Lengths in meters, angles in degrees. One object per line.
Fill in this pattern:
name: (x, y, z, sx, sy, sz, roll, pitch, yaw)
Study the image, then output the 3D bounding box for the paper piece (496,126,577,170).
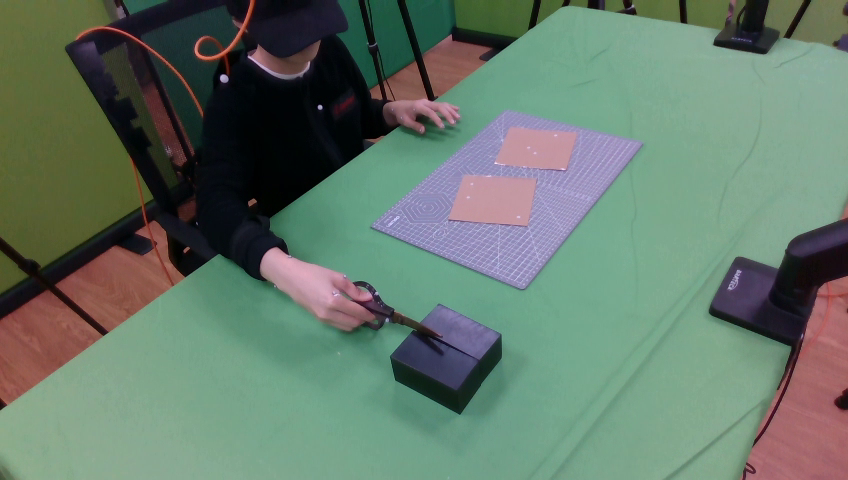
paper piece: (0.218, -0.178, 1.159, 0.135, 0.004, 0.135, 9, 43, 18)

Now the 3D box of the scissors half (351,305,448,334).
scissors half: (-0.035, 0.111, 0.810, 0.174, 0.040, 0.013, 2, 29, 43)

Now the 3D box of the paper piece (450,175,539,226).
paper piece: (0.125, -0.073, 1.051, 0.135, 0.009, 0.138, 3, 42, 18)

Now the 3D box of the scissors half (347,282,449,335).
scissors half: (-0.038, 0.093, 0.801, 0.174, 0.040, 0.013, 21, 36, 32)
